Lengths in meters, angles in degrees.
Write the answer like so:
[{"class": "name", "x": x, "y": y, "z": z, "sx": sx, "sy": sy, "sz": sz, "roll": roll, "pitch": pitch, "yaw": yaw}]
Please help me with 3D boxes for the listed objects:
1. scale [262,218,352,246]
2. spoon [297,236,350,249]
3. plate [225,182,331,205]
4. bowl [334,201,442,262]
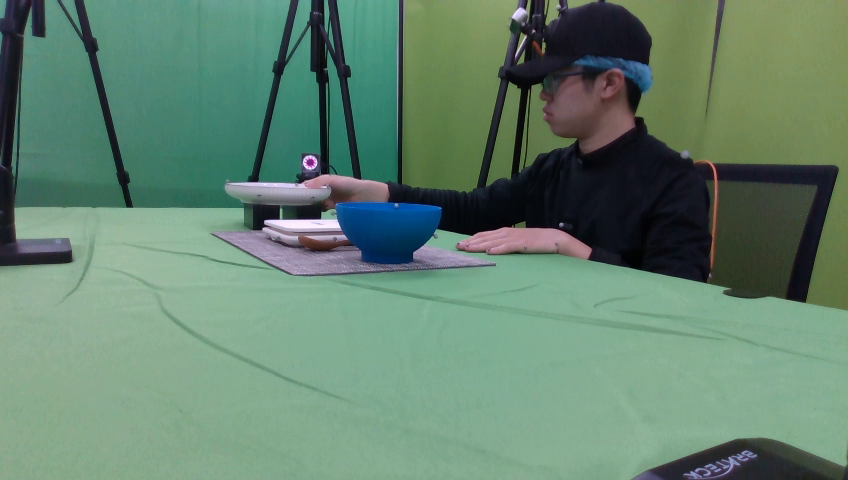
[{"class": "scale", "x": -0.160, "y": -0.016, "z": 1.028, "sx": 0.202, "sy": 0.031, "sz": 0.148, "roll": -2, "pitch": 9, "yaw": -32}, {"class": "spoon", "x": -0.103, "y": 0.002, "z": 0.943, "sx": 0.195, "sy": 0.021, "sz": 0.041, "roll": -2, "pitch": -7, "yaw": -30}, {"class": "plate", "x": -0.294, "y": -0.096, "z": 1.229, "sx": 0.209, "sy": 0.038, "sz": 0.209, "roll": 3, "pitch": 7, "yaw": 0}, {"class": "bowl", "x": -0.051, "y": -0.012, "z": 0.848, "sx": 0.151, "sy": 0.077, "sz": 0.151, "roll": 2, "pitch": 7, "yaw": 0}]
